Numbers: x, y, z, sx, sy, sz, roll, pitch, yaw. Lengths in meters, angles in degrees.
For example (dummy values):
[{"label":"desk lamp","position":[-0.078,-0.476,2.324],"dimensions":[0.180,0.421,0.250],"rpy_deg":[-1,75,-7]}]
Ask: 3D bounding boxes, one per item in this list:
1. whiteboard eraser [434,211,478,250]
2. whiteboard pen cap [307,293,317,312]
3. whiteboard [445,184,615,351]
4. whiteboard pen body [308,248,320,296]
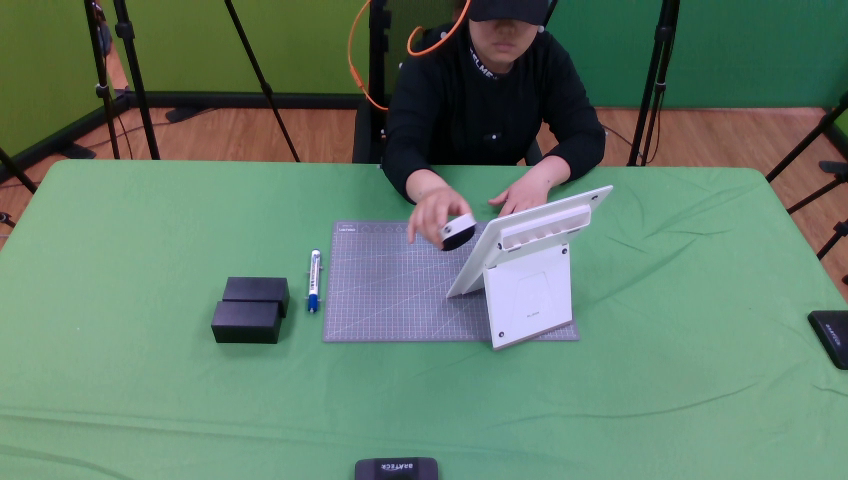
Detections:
[{"label":"whiteboard eraser","position":[0.051,-0.012,0.977],"dimensions":[0.055,0.113,0.042],"rpy_deg":[-22,83,-10]},{"label":"whiteboard pen cap","position":[-0.199,0.110,1.078],"dimensions":[0.018,0.018,0.033],"rpy_deg":[-2,47,-6]},{"label":"whiteboard","position":[0.187,0.065,0.989],"dimensions":[0.217,0.306,0.143],"rpy_deg":[-15,68,-18]},{"label":"whiteboard pen body","position":[-0.204,0.069,1.119],"dimensions":[0.017,0.017,0.140],"rpy_deg":[-1,46,-5]}]
